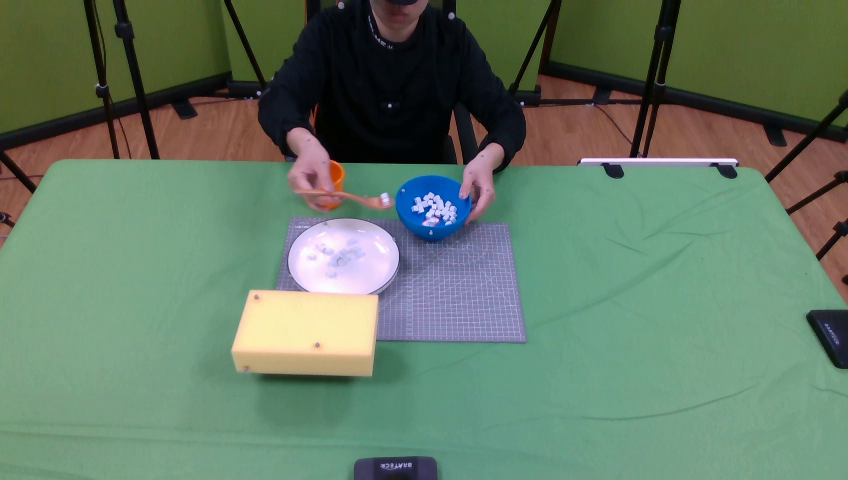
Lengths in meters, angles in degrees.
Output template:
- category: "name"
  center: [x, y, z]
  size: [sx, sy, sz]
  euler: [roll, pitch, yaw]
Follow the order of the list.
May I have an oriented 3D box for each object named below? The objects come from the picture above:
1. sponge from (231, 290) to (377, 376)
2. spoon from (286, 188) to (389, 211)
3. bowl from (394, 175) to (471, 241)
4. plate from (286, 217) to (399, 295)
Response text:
- category: "sponge"
  center: [-0.180, 0.144, 0.949]
  size: [0.207, 0.061, 0.117]
  euler: [2, 46, -2]
- category: "spoon"
  center: [-0.147, -0.075, 1.059]
  size: [0.194, 0.022, 0.041]
  euler: [10, 29, -35]
- category: "bowl"
  center: [0.015, -0.052, 1.197]
  size: [0.151, 0.077, 0.150]
  euler: [2, 47, -2]
- category: "plate"
  center: [-0.150, 0.041, 1.131]
  size: [0.209, 0.038, 0.208]
  euler: [2, 46, -2]
